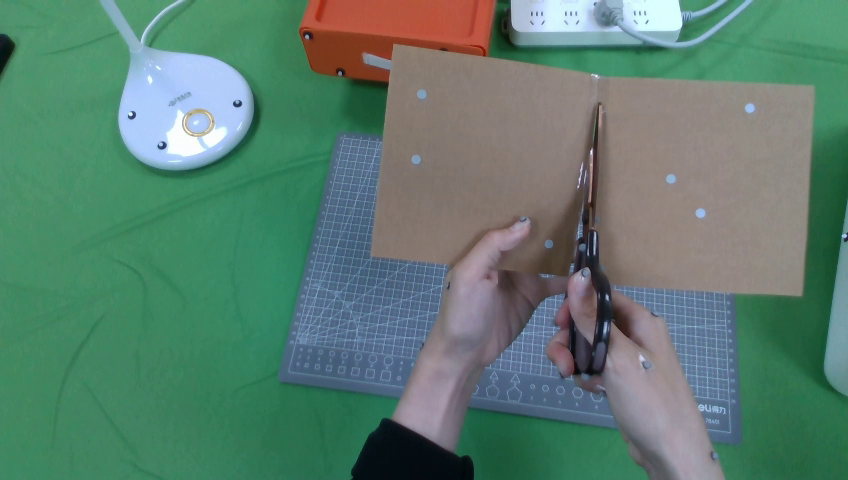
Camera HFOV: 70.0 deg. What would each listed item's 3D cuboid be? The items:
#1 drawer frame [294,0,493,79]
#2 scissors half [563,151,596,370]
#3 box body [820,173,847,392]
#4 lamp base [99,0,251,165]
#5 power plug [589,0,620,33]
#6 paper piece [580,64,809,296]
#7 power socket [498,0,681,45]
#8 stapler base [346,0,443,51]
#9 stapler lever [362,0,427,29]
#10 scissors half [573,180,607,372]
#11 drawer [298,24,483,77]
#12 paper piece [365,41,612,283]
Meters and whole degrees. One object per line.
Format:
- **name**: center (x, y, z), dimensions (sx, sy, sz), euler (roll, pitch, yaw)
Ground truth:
- **drawer frame**: center (-0.021, -0.290, 0.697), dimensions (0.201, 0.083, 0.212), euler (7, 66, 6)
- **scissors half**: center (0.103, -0.003, 0.392), dimensions (0.013, 0.040, 0.175), euler (5, 96, 6)
- **box body**: center (0.545, 0.000, 0.556), dimensions (0.253, 0.161, 0.362), euler (19, 69, 10)
- **lamp base**: center (-0.301, -0.198, 0.661), dimensions (0.178, 0.181, 0.160), euler (38, 72, 20)
- **power plug**: center (0.215, -0.265, 0.728), dimensions (0.035, 0.053, 0.072), euler (11, 68, 7)
- **paper piece**: center (0.170, -0.039, 0.384), dimensions (0.135, 0.004, 0.135), euler (7, 89, 4)
- **power socket**: center (0.207, -0.282, 0.761), dimensions (0.227, 0.033, 0.071), euler (1, 67, 2)
- **stapler base**: center (-0.038, -0.270, 0.709), dimensions (0.129, 0.024, 0.041), euler (36, 88, 19)
- **stapler lever**: center (-0.046, -0.275, 0.685), dimensions (0.117, 0.040, 0.027), euler (36, 88, 20)
- **scissors half**: center (0.102, -0.007, 0.369), dimensions (0.013, 0.040, 0.174), euler (6, 65, 1)
- **drawer**: center (-0.020, -0.287, 0.697), dimensions (0.194, 0.074, 0.210), euler (8, 66, 6)
- **paper piece**: center (0.037, -0.048, 0.382), dimensions (0.136, 0.008, 0.138), euler (10, 100, 5)
